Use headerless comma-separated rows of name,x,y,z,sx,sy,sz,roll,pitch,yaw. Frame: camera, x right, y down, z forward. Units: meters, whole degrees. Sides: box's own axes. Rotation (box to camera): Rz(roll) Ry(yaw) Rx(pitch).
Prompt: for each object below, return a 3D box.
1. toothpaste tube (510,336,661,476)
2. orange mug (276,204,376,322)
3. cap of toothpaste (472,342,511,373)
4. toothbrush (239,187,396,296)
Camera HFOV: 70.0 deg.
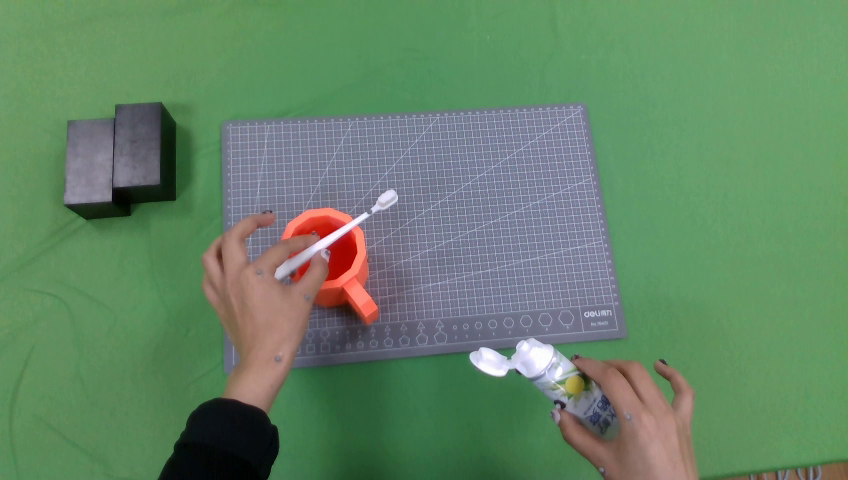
toothpaste tube,0.138,0.140,0.528,0.166,0.034,0.055,40,85,-12
orange mug,-0.095,0.031,0.642,0.083,0.101,0.125,-38,76,-13
cap of toothpaste,0.058,0.099,0.515,0.037,0.037,0.011,24,111,2
toothbrush,-0.103,0.000,0.595,0.182,0.017,0.014,-35,80,-12
